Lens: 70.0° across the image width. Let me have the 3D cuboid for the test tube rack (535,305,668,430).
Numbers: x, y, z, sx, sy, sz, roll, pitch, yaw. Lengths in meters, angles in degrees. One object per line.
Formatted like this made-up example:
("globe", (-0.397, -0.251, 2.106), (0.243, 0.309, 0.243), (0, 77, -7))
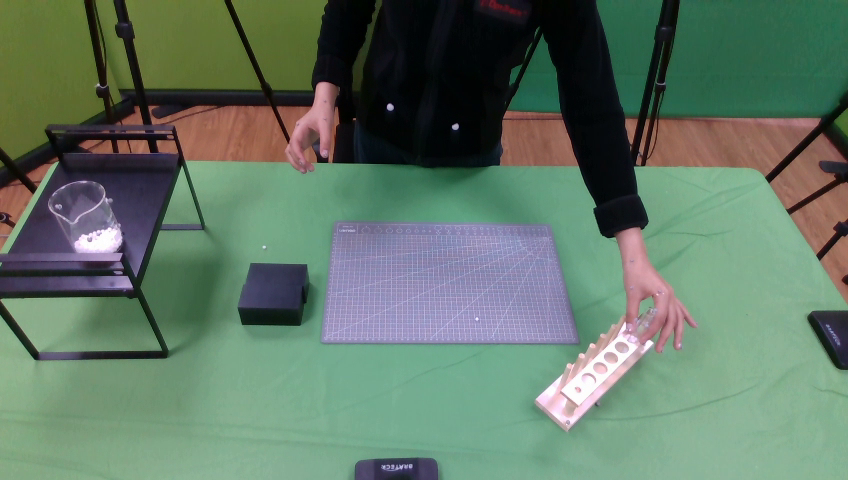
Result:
("test tube rack", (0.290, 0.193, 0.983), (0.242, 0.085, 0.066), (-32, 57, -30))

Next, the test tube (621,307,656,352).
("test tube", (0.336, 0.151, 0.959), (0.017, 0.151, 0.017), (1, 52, -1))

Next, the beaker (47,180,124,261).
("beaker", (-0.486, -0.023, 0.879), (0.074, 0.101, 0.083), (-7, 48, -9))
